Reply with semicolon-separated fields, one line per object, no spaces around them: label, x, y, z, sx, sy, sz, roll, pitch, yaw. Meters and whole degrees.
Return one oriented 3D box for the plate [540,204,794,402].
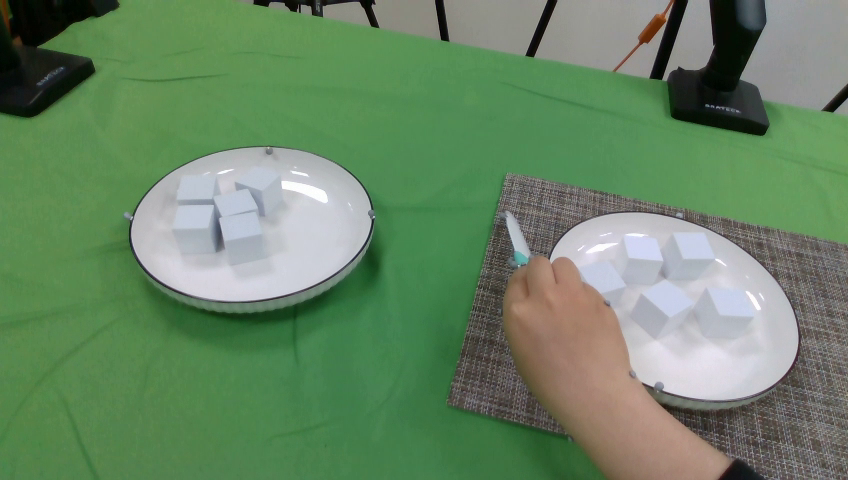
plate;0.201;0.051;0.520;0.208;0.039;0.205;3;45;-3

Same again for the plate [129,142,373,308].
plate;-0.151;-0.014;0.550;0.209;0.038;0.207;4;44;-3

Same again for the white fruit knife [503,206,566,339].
white fruit knife;0.087;0.016;0.526;0.027;0.016;0.205;32;22;-18
